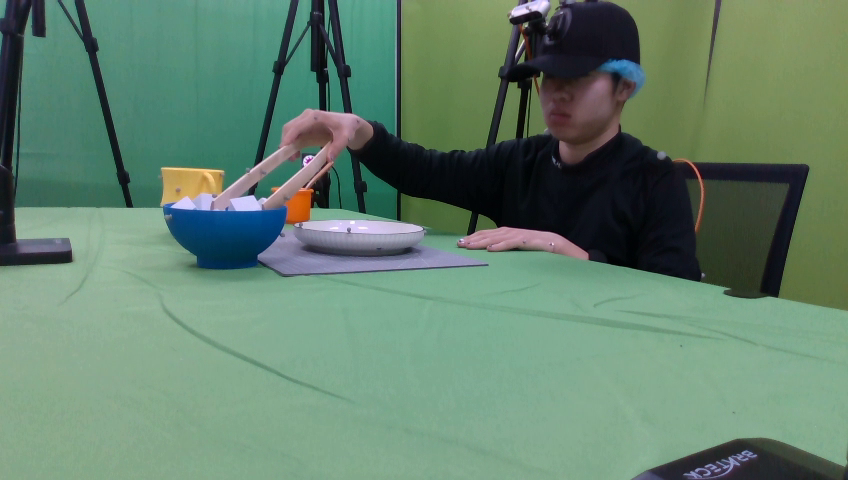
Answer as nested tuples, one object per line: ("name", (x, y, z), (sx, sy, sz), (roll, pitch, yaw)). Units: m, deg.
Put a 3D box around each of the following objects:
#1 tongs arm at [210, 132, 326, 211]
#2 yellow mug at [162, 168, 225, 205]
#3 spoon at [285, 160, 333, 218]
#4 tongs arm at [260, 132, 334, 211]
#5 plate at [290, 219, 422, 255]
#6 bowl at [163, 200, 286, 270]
("tongs arm", (-0.221, -0.110, 0.921), (0.051, 0.026, 0.384), (6, 24, 3))
("yellow mug", (-0.383, -0.087, 1.026), (0.130, 0.064, 0.100), (11, 12, 44))
("spoon", (-0.262, -0.115, 1.359), (0.041, 0.194, 0.022), (12, -33, 39))
("tongs arm", (-0.184, -0.105, 0.918), (0.028, 0.028, 0.387), (3, 24, 5))
("plate", (-0.108, -0.005, 0.963), (0.208, 0.039, 0.207), (3, 7, 0))
("bowl", (-0.255, -0.007, 0.782), (0.151, 0.077, 0.151), (2, 8, 0))
